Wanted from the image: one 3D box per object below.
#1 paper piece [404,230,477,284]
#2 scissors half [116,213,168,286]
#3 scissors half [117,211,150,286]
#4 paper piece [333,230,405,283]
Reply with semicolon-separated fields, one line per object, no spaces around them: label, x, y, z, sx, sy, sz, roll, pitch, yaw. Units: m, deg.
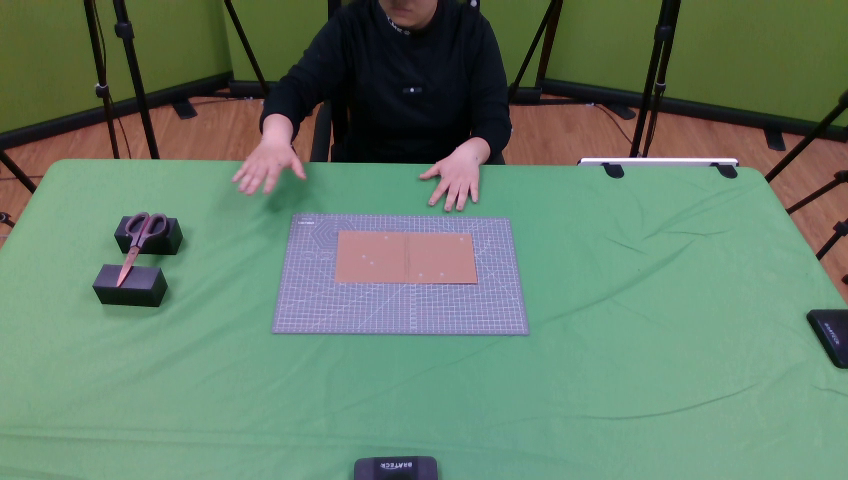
paper piece;0.030;0.033;1.174;0.138;0.009;0.135;2;49;-3
scissors half;-0.504;0.015;1.082;0.040;0.013;0.174;10;48;5
scissors half;-0.524;0.013;1.080;0.040;0.013;0.174;1;48;-11
paper piece;-0.104;0.031;1.165;0.135;0.004;0.135;2;47;-4
